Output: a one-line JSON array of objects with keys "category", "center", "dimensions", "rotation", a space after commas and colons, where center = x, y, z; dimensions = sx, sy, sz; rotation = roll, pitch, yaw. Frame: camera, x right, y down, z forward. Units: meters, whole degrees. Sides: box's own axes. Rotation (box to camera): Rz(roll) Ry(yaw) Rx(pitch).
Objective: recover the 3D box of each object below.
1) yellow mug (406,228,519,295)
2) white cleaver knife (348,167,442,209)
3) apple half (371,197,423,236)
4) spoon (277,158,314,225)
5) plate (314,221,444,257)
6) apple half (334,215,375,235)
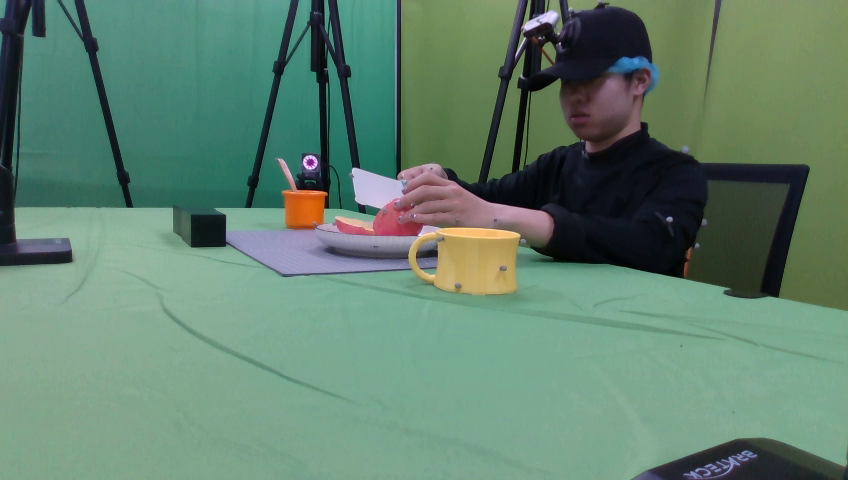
[{"category": "yellow mug", "center": [0.044, 0.022, 0.707], "dimensions": [0.131, 0.064, 0.100], "rotation": [2, 7, 5]}, {"category": "white cleaver knife", "center": [-0.042, -0.074, 1.005], "dimensions": [0.021, 0.066, 0.288], "rotation": [-15, -9, 28]}, {"category": "apple half", "center": [-0.037, -0.022, 0.927], "dimensions": [0.074, 0.053, 0.081], "rotation": [-36, -20, 9]}, {"category": "spoon", "center": [-0.272, -0.103, 1.260], "dimensions": [0.042, 0.193, 0.021], "rotation": [-5, -34, -33]}, {"category": "plate", "center": [-0.066, -0.002, 0.948], "dimensions": [0.209, 0.038, 0.209], "rotation": [3, 7, 0]}, {"category": "apple half", "center": [-0.108, -0.012, 0.971], "dimensions": [0.081, 0.033, 0.081], "rotation": [18, 9, -3]}]
